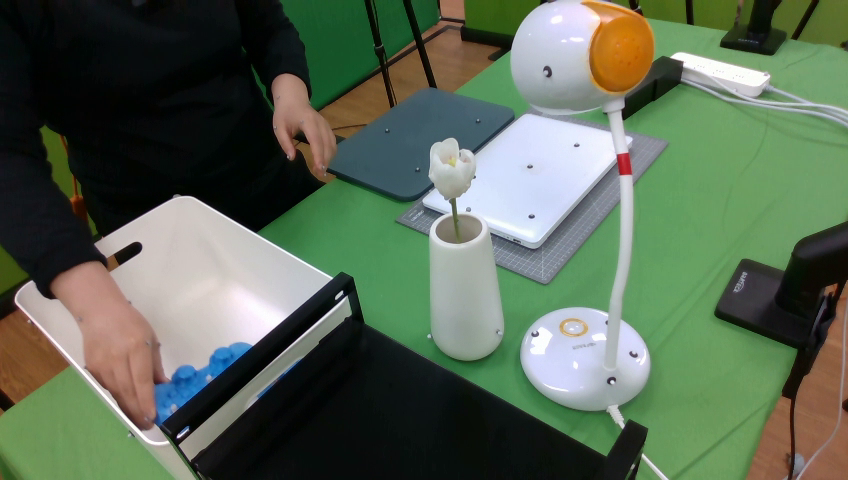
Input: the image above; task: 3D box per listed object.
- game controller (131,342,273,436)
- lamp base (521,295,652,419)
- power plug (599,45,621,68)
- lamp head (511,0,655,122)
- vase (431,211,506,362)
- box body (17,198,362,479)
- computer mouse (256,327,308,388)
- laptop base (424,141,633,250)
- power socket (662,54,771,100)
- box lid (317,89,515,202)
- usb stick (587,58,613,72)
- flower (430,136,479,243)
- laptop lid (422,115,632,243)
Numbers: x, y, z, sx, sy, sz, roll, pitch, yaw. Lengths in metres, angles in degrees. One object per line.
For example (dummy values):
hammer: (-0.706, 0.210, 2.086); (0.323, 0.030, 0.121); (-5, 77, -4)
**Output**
game controller: (-0.251, 0.165, 0.711); (0.096, 0.051, 0.156); (32, 37, 30)
lamp base: (0.201, 0.095, 0.710); (0.161, 0.181, 0.177); (-16, 43, -10)
power plug: (0.437, -0.422, 1.412); (0.053, 0.035, 0.072); (-17, 74, -47)
lamp head: (0.155, -0.168, 0.563); (0.113, 0.113, 0.122); (-18, 23, -12)
vase: (0.054, 0.062, 0.757); (0.098, 0.201, 0.097); (-3, 40, 3)
box body: (-0.285, 0.123, 0.766); (0.361, 0.161, 0.255); (25, 49, 33)
computer mouse: (-0.169, 0.159, 0.788); (0.116, 0.041, 0.063); (32, 51, 24)
laptop base: (0.193, -0.116, 1.087); (0.233, 0.023, 0.355); (21, 48, 34)
power socket: (0.615, -0.348, 1.284); (0.072, 0.033, 0.225); (-36, 48, -29)
box lid: (-0.009, -0.207, 1.236); (0.261, 0.015, 0.372); (23, 49, 32)
usb stick: (0.401, -0.399, 1.380); (0.059, 0.027, 0.021); (1, 48, 20)
flower: (0.041, 0.011, 0.691); (0.044, 0.363, 0.038); (16, 62, 14)
laptop lid: (0.190, -0.126, 1.081); (0.239, 0.013, 0.358); (23, 48, 34)
